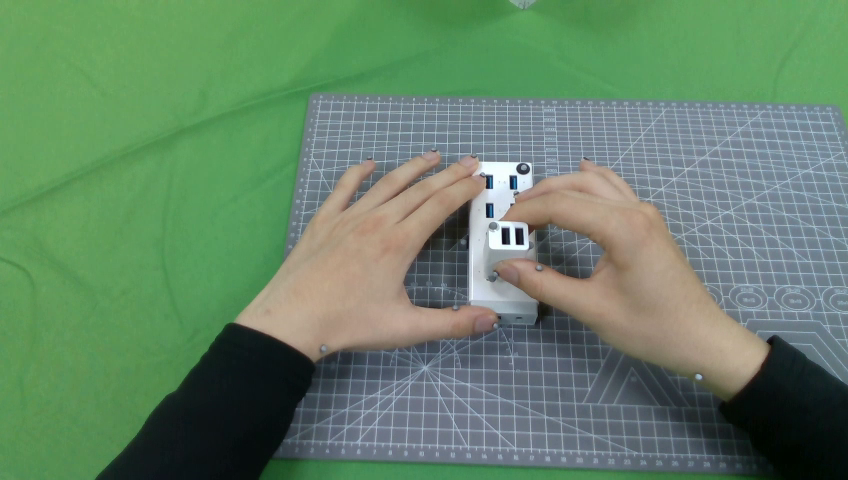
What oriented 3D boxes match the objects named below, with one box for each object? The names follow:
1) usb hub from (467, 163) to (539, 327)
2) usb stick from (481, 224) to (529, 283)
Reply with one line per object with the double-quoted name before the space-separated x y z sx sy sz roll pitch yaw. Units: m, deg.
"usb hub" 0.057 0.001 0.443 0.049 0.025 0.124 2 63 1
"usb stick" 0.051 0.013 0.399 0.027 0.059 0.021 0 60 -4
